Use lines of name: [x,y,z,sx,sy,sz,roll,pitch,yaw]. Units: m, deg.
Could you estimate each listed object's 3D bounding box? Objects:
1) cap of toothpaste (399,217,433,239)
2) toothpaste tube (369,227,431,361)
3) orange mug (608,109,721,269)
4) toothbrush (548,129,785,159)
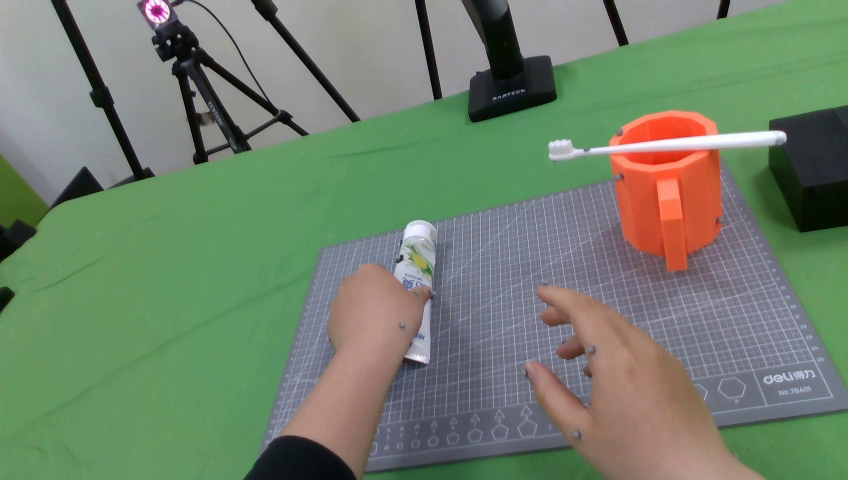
cap of toothpaste: [-0.008,-0.009,0.646,0.037,0.038,0.011,-9,41,18]
toothpaste tube: [-0.017,0.044,0.590,0.055,0.035,0.163,13,43,-7]
orange mug: [0.208,-0.040,0.519,0.083,0.102,0.125,-7,37,21]
toothbrush: [0.188,-0.080,0.491,0.181,0.017,0.014,1,36,29]
